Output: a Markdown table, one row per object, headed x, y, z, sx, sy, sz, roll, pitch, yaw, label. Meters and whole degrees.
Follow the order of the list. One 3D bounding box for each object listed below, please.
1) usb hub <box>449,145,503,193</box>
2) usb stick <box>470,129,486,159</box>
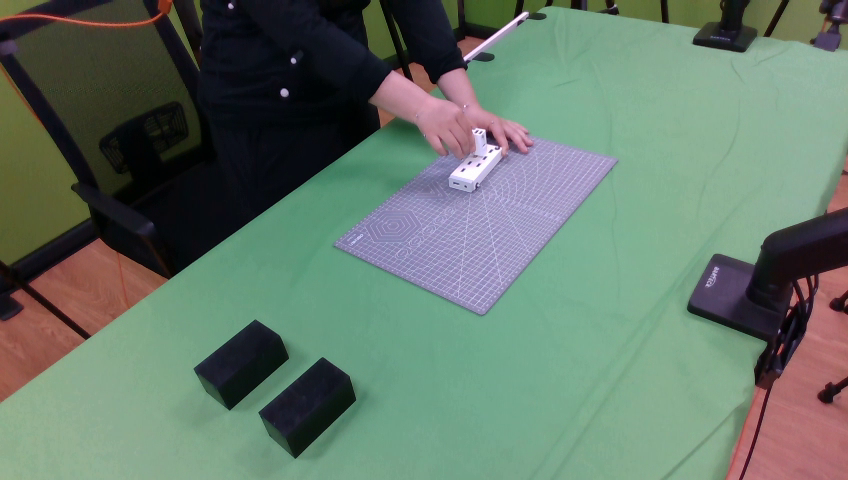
| x | y | z | sx | sy | sz | roll | pitch | yaw | label |
| --- | --- | --- | --- | --- | --- | --- | --- | --- | --- |
| 0.096 | -0.132 | 1.106 | 0.049 | 0.025 | 0.125 | 18 | 47 | 27 | usb hub |
| 0.098 | -0.170 | 1.095 | 0.027 | 0.059 | 0.021 | 17 | 42 | 23 | usb stick |
